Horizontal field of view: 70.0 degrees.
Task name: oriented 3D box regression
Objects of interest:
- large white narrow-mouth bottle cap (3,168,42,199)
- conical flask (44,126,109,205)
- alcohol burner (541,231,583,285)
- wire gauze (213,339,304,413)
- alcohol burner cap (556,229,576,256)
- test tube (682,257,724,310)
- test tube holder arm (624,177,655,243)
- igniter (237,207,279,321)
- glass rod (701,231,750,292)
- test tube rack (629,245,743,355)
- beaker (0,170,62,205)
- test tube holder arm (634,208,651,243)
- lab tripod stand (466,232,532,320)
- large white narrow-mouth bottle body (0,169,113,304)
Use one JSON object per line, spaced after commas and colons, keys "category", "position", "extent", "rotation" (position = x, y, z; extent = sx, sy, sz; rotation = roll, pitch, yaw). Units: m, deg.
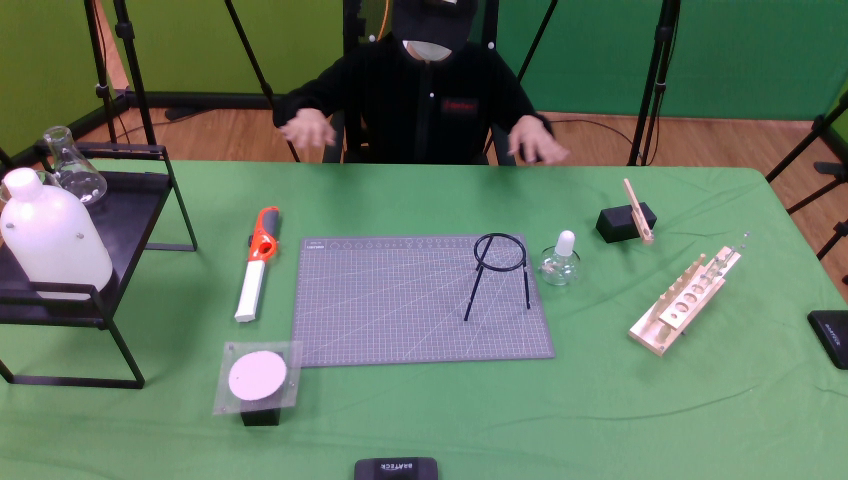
{"category": "large white narrow-mouth bottle cap", "position": [-0.489, -0.069, 0.738], "extent": [0.038, 0.024, 0.037], "rotation": [2, 46, -2]}
{"category": "conical flask", "position": [-0.554, -0.119, 0.953], "extent": [0.075, 0.122, 0.075], "rotation": [2, 46, -2]}
{"category": "alcohol burner", "position": [0.258, 0.028, 1.123], "extent": [0.078, 0.120, 0.077], "rotation": [1, 48, -1]}
{"category": "wire gauze", "position": [-0.250, 0.203, 0.924], "extent": [0.121, 0.011, 0.124], "rotation": [-1, 46, -3]}
{"category": "alcohol burner cap", "position": [0.260, 0.002, 1.098], "extent": [0.034, 0.048, 0.033], "rotation": [3, 40, -2]}
{"category": "test tube", "position": [0.475, 0.080, 1.037], "extent": [0.017, 0.151, 0.017], "rotation": [2, 51, -2]}
{"category": "test tube holder arm", "position": [0.433, -0.063, 1.220], "extent": [0.013, 0.015, 0.177], "rotation": [0, 47, -3]}
{"category": "igniter", "position": [-0.309, 0.035, 1.136], "extent": [0.057, 0.025, 0.274], "rotation": [-6, 45, 4]}
{"category": "glass rod", "position": [0.519, 0.045, 1.050], "extent": [0.008, 0.201, 0.008], "rotation": [0, 55, 0]}
{"category": "test tube rack", "position": [0.474, 0.095, 1.091], "extent": [0.242, 0.085, 0.066], "rotation": [-34, 56, -31]}
{"category": "beaker", "position": [-0.562, -0.042, 0.894], "extent": [0.084, 0.101, 0.073], "rotation": [-2, 47, -7]}
{"category": "test tube holder arm", "position": [0.428, -0.030, 1.189], "extent": [0.010, 0.015, 0.087], "rotation": [1, 47, -2]}
{"category": "lab tripod stand", "position": [0.125, 0.059, 1.065], "extent": [0.148, 0.132, 0.147], "rotation": [1, 45, 0]}
{"category": "large white narrow-mouth bottle body", "position": [-0.492, -0.010, 0.801], "extent": [0.102, 0.195, 0.101], "rotation": [2, 46, -2]}
